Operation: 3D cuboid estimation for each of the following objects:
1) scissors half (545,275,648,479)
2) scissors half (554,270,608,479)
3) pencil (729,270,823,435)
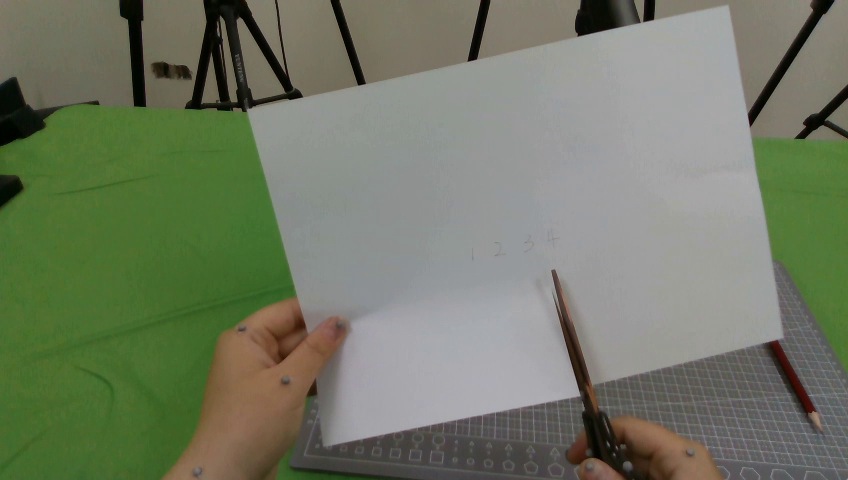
[{"bbox_3d":[0.100,0.097,0.344,0.013,0.040,0.173,-13,63,-10],"label":"scissors half"},{"bbox_3d":[0.097,0.104,0.366,0.013,0.175,0.040,-12,2,-14],"label":"scissors half"},{"bbox_3d":[0.312,0.092,0.543,0.012,0.012,0.192,2,38,2],"label":"pencil"}]
